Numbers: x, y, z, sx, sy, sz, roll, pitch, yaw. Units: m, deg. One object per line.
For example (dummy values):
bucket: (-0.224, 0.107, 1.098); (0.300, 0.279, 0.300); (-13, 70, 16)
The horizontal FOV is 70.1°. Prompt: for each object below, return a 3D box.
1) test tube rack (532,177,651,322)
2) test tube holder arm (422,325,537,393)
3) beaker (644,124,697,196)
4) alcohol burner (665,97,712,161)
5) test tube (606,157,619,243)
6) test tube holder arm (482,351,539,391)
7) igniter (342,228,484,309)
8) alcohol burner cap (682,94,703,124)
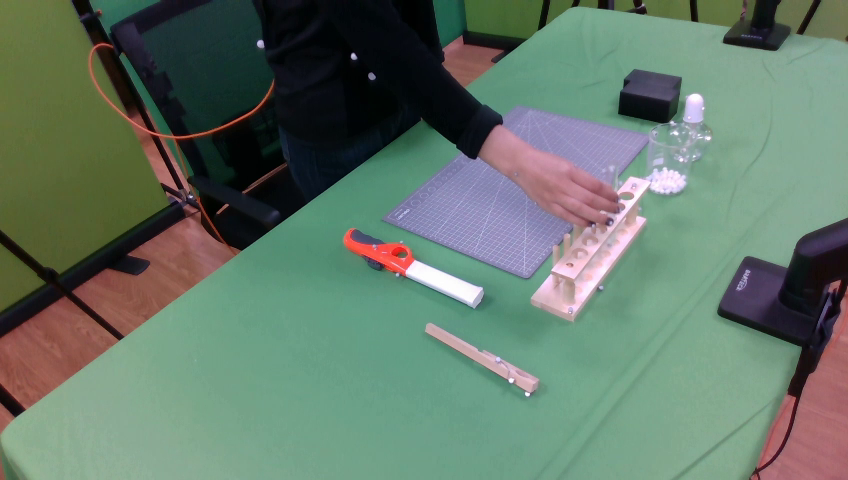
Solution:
test tube rack: (0.247, 0.002, 0.883); (0.066, 0.085, 0.243); (22, 49, 32)
test tube holder arm: (0.068, 0.152, 0.789); (0.177, 0.015, 0.013); (23, 15, 32)
beaker: (0.407, -0.132, 1.001); (0.084, 0.101, 0.073); (-20, 42, -13)
alcohol burner: (0.465, -0.198, 1.057); (0.078, 0.119, 0.077); (-4, 41, 4)
test tube: (0.260, -0.051, 0.835); (0.017, 0.151, 0.017); (-8, 43, 8)
test tube holder arm: (0.106, 0.166, 0.769); (0.087, 0.015, 0.010); (24, 15, 34)
igniter: (-0.028, 0.039, 0.936); (0.274, 0.025, 0.057); (23, 60, 33)
alcohol burner cap: (0.460, -0.225, 1.033); (0.034, 0.048, 0.033); (-8, 34, 6)
